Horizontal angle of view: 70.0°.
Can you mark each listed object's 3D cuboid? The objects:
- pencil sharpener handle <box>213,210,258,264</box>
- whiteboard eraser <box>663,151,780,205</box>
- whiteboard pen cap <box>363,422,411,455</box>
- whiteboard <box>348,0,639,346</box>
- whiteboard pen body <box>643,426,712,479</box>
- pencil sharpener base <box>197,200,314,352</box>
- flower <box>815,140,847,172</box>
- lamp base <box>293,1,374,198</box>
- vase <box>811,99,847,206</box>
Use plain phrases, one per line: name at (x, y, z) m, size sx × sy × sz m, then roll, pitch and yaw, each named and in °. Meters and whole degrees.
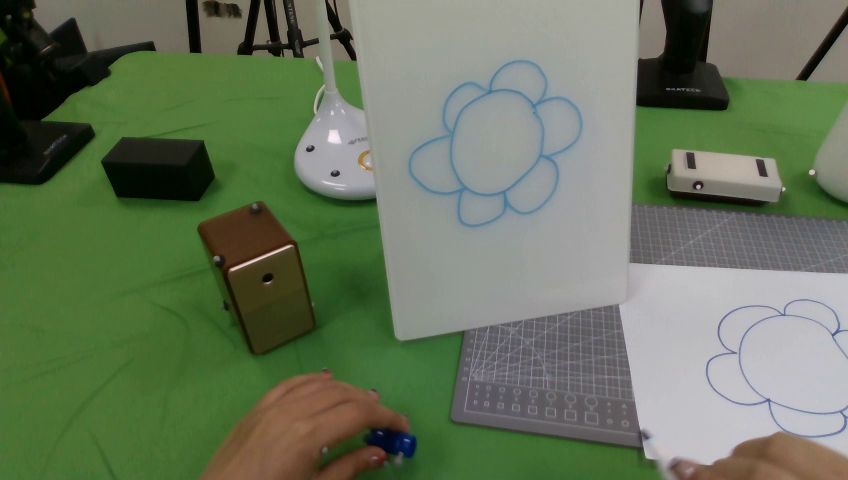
pencil sharpener handle at (-0.171, -0.007, 0.550) m, size 0.036 × 0.068 × 0.030 m, roll -31°, pitch 48°, yaw -17°
whiteboard eraser at (0.324, -0.066, 0.665) m, size 0.112 × 0.042 × 0.055 m, roll 6°, pitch 40°, yaw 11°
whiteboard pen cap at (-0.025, 0.141, 0.426) m, size 0.033 × 0.018 × 0.018 m, roll 9°, pitch 42°, yaw 25°
whiteboard at (0.056, -0.088, 0.545) m, size 0.217 × 0.307 × 0.142 m, roll -8°, pitch 23°, yaw -6°
whiteboard pen body at (0.158, 0.146, 0.301) m, size 0.017 × 0.017 × 0.139 m, roll -20°, pitch 41°, yaw -18°
pencil sharpener base at (-0.145, 0.031, 0.525) m, size 0.061 × 0.108 × 0.076 m, roll -25°, pitch 46°, yaw -23°
flower at (0.481, -0.179, 0.543) m, size 0.044 × 0.364 × 0.038 m, roll -11°, pitch 59°, yaw -19°
lamp base at (-0.088, -0.166, 0.689) m, size 0.161 × 0.182 × 0.177 m, roll -29°, pitch 46°, yaw -27°
vase at (0.476, -0.128, 0.610) m, size 0.098 × 0.202 × 0.097 m, roll 0°, pitch 42°, yaw 1°
